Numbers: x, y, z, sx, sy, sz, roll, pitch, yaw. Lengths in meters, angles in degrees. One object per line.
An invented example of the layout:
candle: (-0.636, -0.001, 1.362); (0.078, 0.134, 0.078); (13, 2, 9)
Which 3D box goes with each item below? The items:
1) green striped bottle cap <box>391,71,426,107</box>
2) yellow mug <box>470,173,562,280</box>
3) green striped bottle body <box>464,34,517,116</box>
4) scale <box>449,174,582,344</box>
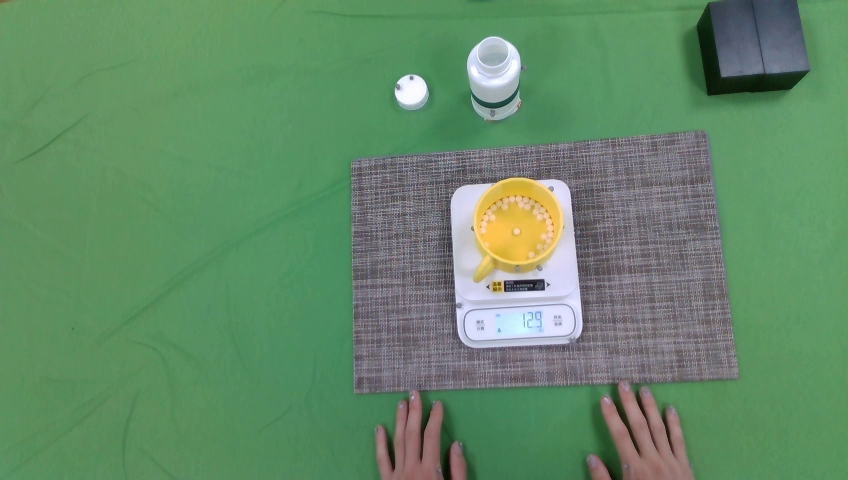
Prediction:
green striped bottle cap: (-0.021, -0.201, 0.806); (0.044, 0.020, 0.044); (-1, 83, 6)
yellow mug: (0.095, -0.007, 0.692); (0.099, 0.064, 0.131); (36, 86, 12)
green striped bottle body: (0.082, -0.203, 0.739); (0.063, 0.120, 0.063); (-1, 78, 8)
scale: (0.108, 0.022, 0.733); (0.148, 0.032, 0.200); (-4, 79, 7)
